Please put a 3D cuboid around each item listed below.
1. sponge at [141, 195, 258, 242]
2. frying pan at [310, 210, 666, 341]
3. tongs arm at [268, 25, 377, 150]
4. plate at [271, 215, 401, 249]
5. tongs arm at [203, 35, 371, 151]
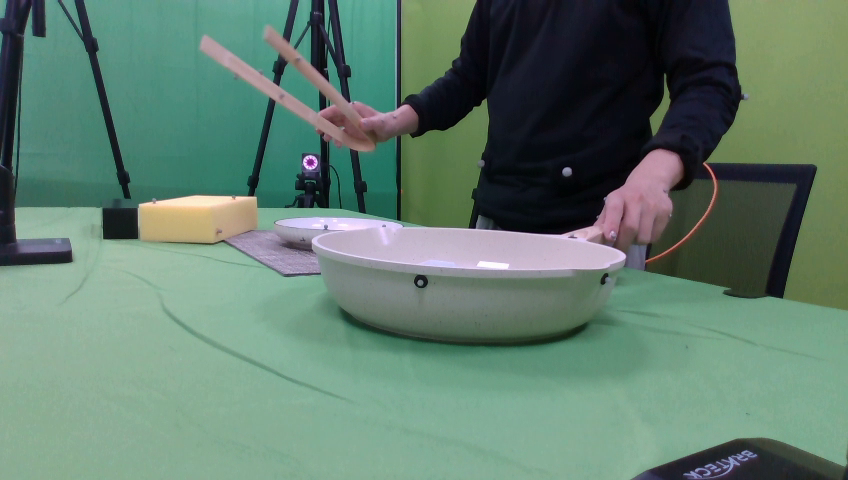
[{"bbox_3d":[-0.380,-0.040,1.047,0.118,0.061,0.207,1,8,3],"label":"sponge"},{"bbox_3d":[0.120,0.011,0.643,0.490,0.102,0.305,-13,16,-36],"label":"frying pan"},{"bbox_3d":[-0.148,-0.230,0.983,0.028,0.027,0.389,-3,-15,17],"label":"tongs arm"},{"bbox_3d":[-0.141,-0.012,0.978,0.208,0.039,0.207,3,7,0],"label":"plate"},{"bbox_3d":[-0.206,-0.231,1.009,0.050,0.026,0.386,-2,-15,25],"label":"tongs arm"}]
